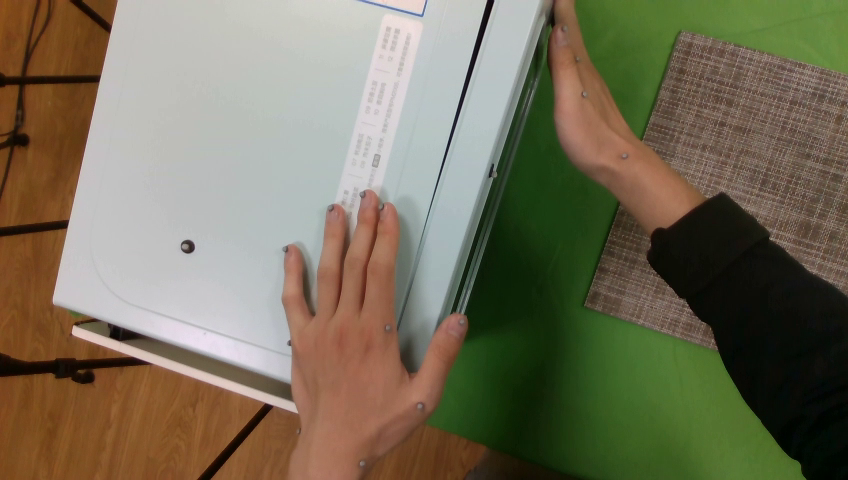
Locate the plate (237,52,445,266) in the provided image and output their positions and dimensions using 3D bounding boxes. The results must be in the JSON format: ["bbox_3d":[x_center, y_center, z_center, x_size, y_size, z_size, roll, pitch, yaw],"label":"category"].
[{"bbox_3d":[-0.081,-0.078,0.605,0.207,0.039,0.207,0,94,7],"label":"plate"}]

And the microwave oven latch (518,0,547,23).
[{"bbox_3d":[0.116,-0.263,0.607,0.030,0.029,0.079,16,97,8],"label":"microwave oven latch"}]

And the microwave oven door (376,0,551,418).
[{"bbox_3d":[0.042,-0.047,0.530,0.039,0.244,0.356,18,96,8],"label":"microwave oven door"}]

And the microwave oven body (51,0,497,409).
[{"bbox_3d":[-0.089,-0.130,0.551,0.325,0.260,0.442,16,97,7],"label":"microwave oven body"}]

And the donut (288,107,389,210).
[{"bbox_3d":[-0.082,-0.077,0.577,0.099,0.048,0.099,0,94,4],"label":"donut"}]

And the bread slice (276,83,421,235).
[{"bbox_3d":[-0.083,-0.085,0.604,0.107,0.018,0.134,-32,95,2],"label":"bread slice"}]

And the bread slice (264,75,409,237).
[{"bbox_3d":[-0.089,-0.080,0.551,0.105,0.019,0.131,-26,92,12],"label":"bread slice"}]
